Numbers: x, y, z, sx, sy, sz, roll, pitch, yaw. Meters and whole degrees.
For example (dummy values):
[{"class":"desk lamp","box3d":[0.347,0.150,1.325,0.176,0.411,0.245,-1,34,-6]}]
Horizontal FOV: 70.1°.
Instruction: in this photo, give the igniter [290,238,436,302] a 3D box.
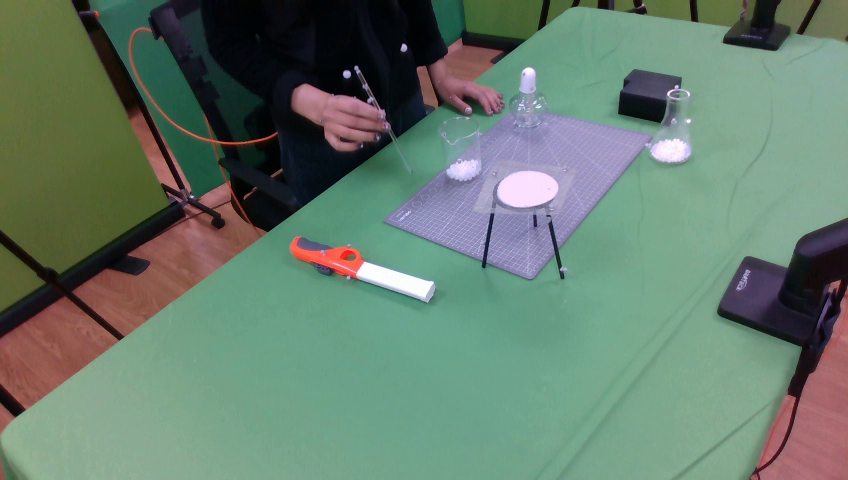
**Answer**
[{"class":"igniter","box3d":[-0.106,0.044,0.949,0.274,0.025,0.057,16,57,27]}]

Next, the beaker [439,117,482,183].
[{"class":"beaker","box3d":[0.068,-0.160,1.097,0.073,0.101,0.084,7,43,19]}]

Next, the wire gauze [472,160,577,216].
[{"class":"wire gauze","box3d":[0.143,-0.073,0.850,0.121,0.011,0.125,8,43,22]}]

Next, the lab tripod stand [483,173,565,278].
[{"class":"lab tripod stand","box3d":[0.151,-0.025,0.896,0.148,0.132,0.147,-7,40,6]}]

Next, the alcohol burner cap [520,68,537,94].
[{"class":"alcohol burner cap","box3d":[0.205,-0.313,1.183,0.034,0.048,0.033,-3,50,4]}]

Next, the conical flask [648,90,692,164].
[{"class":"conical flask","box3d":[0.437,-0.199,1.057,0.075,0.122,0.075,-5,40,5]}]

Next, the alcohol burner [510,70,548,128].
[{"class":"alcohol burner","box3d":[0.209,-0.287,1.208,0.078,0.119,0.077,-5,42,5]}]

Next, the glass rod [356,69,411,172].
[{"class":"glass rod","box3d":[-0.062,-0.186,0.966,0.008,0.201,0.008,-17,39,15]}]
